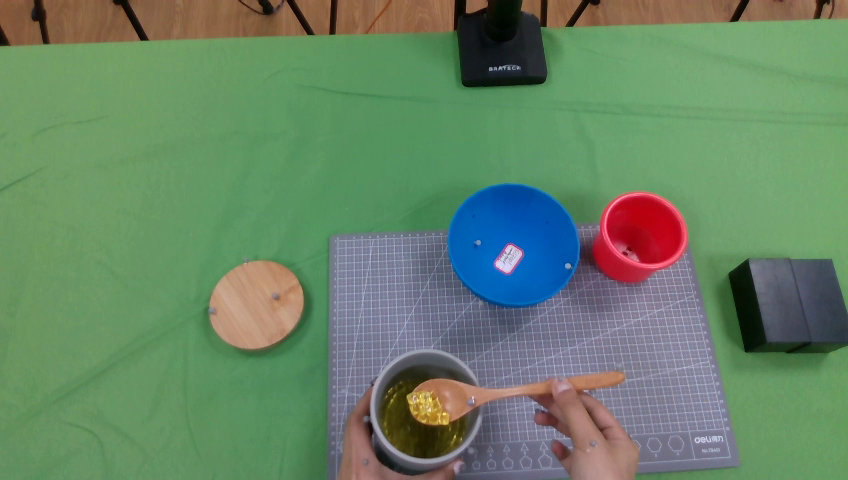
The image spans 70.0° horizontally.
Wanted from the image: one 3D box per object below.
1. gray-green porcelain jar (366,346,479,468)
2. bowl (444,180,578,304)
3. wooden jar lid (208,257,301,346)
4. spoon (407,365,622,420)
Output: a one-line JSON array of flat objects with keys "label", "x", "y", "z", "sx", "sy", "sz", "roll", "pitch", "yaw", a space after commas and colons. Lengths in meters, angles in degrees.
[{"label": "gray-green porcelain jar", "x": -0.004, "y": 0.174, "z": 0.616, "sx": 0.106, "sy": 0.127, "sz": 0.105, "roll": 2, "pitch": 65, "yaw": -3}, {"label": "bowl", "x": 0.097, "y": 0.013, "z": 0.713, "sx": 0.151, "sy": 0.077, "sz": 0.150, "roll": 0, "pitch": 67, "yaw": -1}, {"label": "wooden jar lid", "x": -0.199, "y": 0.074, "z": 0.717, "sx": 0.108, "sy": 0.021, "sz": 0.107, "roll": 0, "pitch": 67, "yaw": 0}, {"label": "spoon", "x": 0.079, "y": 0.132, "z": 0.544, "sx": 0.193, "sy": 0.022, "sz": 0.041, "roll": -11, "pitch": 73, "yaw": 14}]
